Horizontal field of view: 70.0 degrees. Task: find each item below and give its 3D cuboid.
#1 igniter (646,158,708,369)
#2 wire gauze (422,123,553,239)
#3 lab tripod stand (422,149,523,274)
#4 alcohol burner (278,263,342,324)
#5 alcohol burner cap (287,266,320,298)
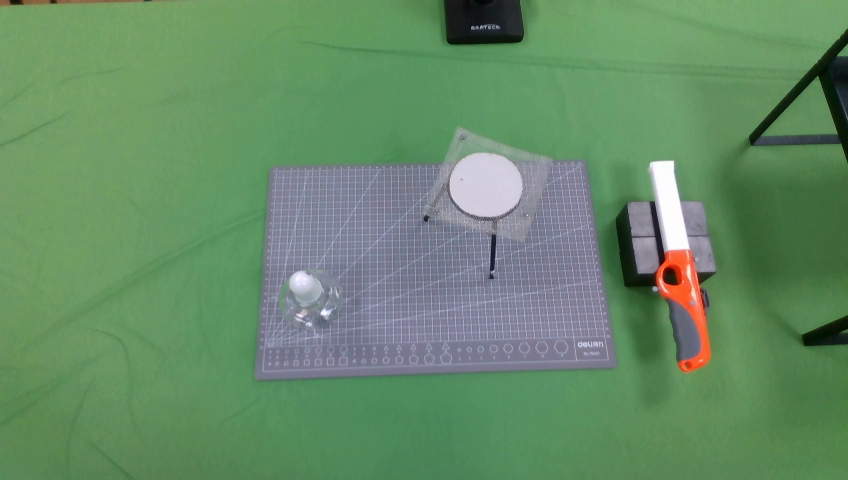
[{"bbox_3d":[0.312,0.022,0.754,0.057,0.025,0.274,-2,68,4],"label":"igniter"},{"bbox_3d":[0.075,-0.069,0.700,0.121,0.011,0.124,20,68,6],"label":"wire gauze"},{"bbox_3d":[0.071,-0.047,0.763,0.148,0.132,0.147,1,66,-1],"label":"lab tripod stand"},{"bbox_3d":[-0.139,0.059,0.726,0.078,0.120,0.077,1,70,-2],"label":"alcohol burner"},{"bbox_3d":[-0.140,0.046,0.692,0.034,0.048,0.033,0,70,1],"label":"alcohol burner cap"}]
